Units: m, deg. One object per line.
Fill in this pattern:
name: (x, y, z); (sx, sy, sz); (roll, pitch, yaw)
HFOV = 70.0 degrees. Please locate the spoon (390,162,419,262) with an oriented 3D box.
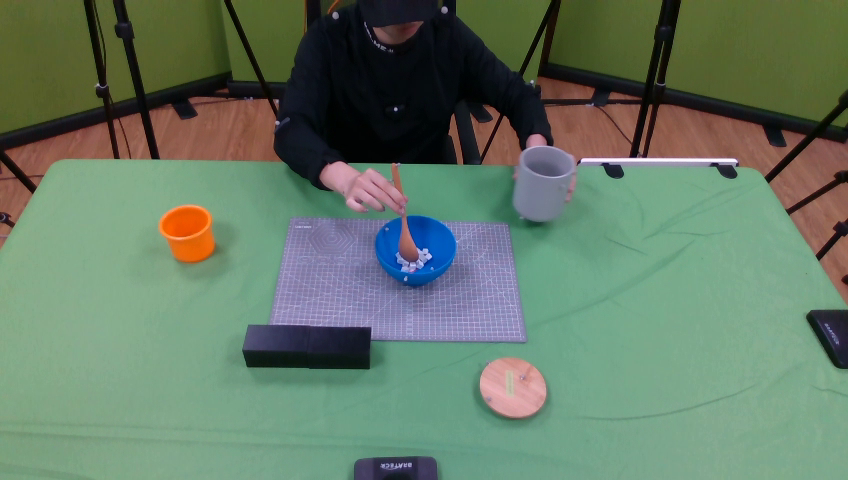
spoon: (-0.039, -0.046, 1.076); (0.041, 0.194, 0.021); (3, 24, 29)

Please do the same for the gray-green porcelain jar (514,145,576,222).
gray-green porcelain jar: (0.238, -0.108, 1.211); (0.106, 0.127, 0.105); (2, 44, -2)

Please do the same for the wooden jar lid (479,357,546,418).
wooden jar lid: (0.142, 0.240, 0.979); (0.108, 0.021, 0.107); (1, 46, -1)

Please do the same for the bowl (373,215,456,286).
bowl: (-0.019, 0.032, 1.122); (0.151, 0.077, 0.150); (2, 46, -2)
